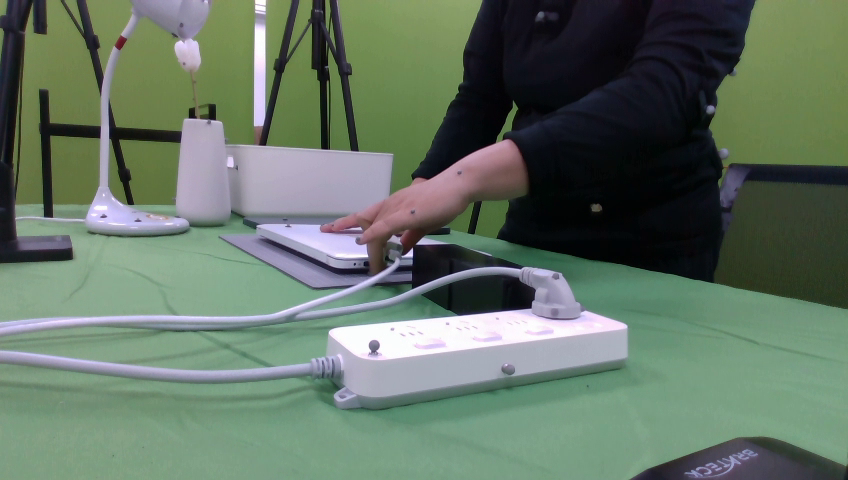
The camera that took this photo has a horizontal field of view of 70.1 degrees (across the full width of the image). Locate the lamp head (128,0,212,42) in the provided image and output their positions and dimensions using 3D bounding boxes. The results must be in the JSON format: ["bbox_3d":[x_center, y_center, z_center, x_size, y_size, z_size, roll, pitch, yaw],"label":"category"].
[{"bbox_3d":[-0.423,-0.394,0.980,0.123,0.112,0.112,20,7,-3],"label":"lamp head"}]

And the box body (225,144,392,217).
[{"bbox_3d":[-0.289,-0.143,1.474,0.366,0.160,0.253,-1,9,-29],"label":"box body"}]

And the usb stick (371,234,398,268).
[{"bbox_3d":[-0.047,0.010,0.704,0.021,0.027,0.059,19,14,-16],"label":"usb stick"}]

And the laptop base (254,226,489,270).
[{"bbox_3d":[-0.096,0.011,0.911,0.237,0.023,0.352,2,6,-32],"label":"laptop base"}]

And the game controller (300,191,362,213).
[{"bbox_3d":[-0.241,-0.098,1.549,0.155,0.051,0.097,3,8,5],"label":"game controller"}]

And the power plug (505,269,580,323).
[{"bbox_3d":[0.092,0.051,0.469,0.035,0.052,0.072,-1,6,-15],"label":"power plug"}]

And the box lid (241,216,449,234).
[{"bbox_3d":[-0.162,-0.030,1.233,0.373,0.015,0.262,-1,7,-32],"label":"box lid"}]

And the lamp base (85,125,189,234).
[{"bbox_3d":[-0.498,-0.105,1.026,0.179,0.180,0.160,1,7,3],"label":"lamp base"}]

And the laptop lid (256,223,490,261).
[{"bbox_3d":[-0.093,0.000,0.911,0.243,0.013,0.355,2,7,-30],"label":"laptop lid"}]

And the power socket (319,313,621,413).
[{"bbox_3d":[0.037,0.076,0.409,0.228,0.032,0.072,-1,8,-29],"label":"power socket"}]

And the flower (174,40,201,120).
[{"bbox_3d":[-0.430,-0.211,1.165,0.044,0.361,0.038,-10,-5,-23],"label":"flower"}]

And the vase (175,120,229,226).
[{"bbox_3d":[-0.425,-0.128,1.158,0.098,0.200,0.098,2,9,0],"label":"vase"}]

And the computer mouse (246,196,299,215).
[{"bbox_3d":[-0.355,-0.082,1.417,0.117,0.041,0.063,1,9,7],"label":"computer mouse"}]
